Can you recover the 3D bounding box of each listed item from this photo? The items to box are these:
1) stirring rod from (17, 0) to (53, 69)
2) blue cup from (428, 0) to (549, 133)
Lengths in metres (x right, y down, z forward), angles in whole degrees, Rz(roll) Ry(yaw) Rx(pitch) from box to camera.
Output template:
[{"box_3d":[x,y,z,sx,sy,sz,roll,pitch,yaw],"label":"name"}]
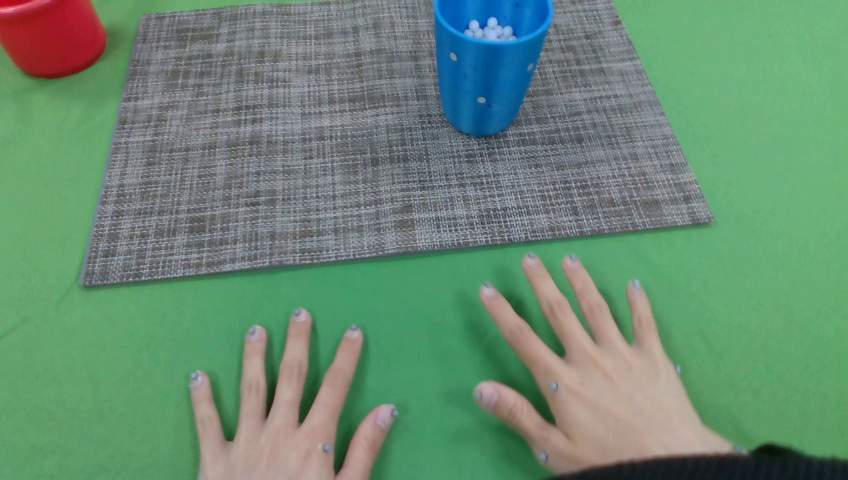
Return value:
[{"box_3d":[-0.306,-0.224,0.504,0.014,0.006,0.176,36,105,26],"label":"stirring rod"},{"box_3d":[0.044,-0.138,0.465,0.093,0.101,0.092,1,56,-1],"label":"blue cup"}]
